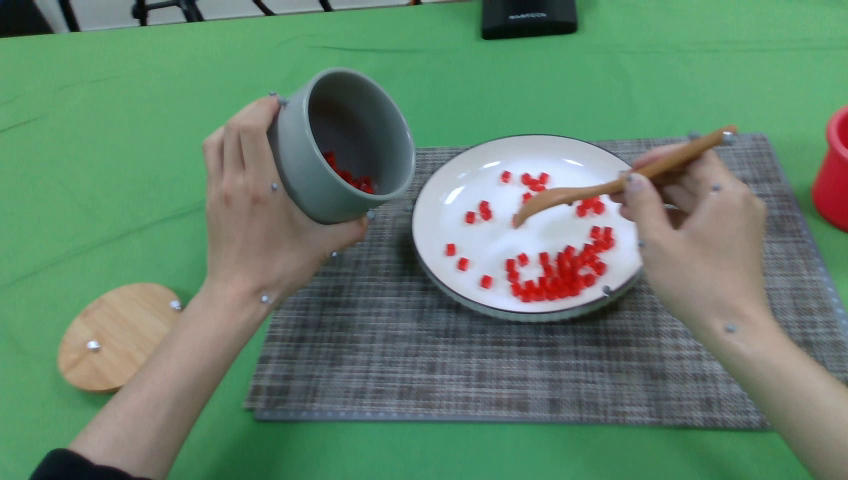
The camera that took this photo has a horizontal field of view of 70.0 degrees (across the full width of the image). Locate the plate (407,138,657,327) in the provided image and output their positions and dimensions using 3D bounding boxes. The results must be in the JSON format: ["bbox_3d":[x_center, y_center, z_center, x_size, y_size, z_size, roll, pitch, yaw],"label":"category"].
[{"bbox_3d":[0.090,-0.008,0.526,0.207,0.039,0.205,-5,48,5],"label":"plate"}]

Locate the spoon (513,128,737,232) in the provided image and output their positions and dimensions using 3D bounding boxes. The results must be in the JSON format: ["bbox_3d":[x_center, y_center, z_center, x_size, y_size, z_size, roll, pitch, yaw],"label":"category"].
[{"bbox_3d":[0.132,-0.038,0.433,0.041,0.022,0.193,-37,11,-37],"label":"spoon"}]

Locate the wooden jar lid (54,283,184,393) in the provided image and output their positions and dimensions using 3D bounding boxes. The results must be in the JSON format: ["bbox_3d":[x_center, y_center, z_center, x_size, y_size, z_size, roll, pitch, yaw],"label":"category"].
[{"bbox_3d":[-0.258,0.084,0.521,0.108,0.021,0.107,-4,49,5],"label":"wooden jar lid"}]

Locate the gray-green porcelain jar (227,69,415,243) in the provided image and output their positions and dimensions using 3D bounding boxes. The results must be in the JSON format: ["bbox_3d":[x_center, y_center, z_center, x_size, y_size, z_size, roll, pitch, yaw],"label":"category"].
[{"bbox_3d":[-0.088,-0.060,0.486,0.126,0.107,0.105,-22,36,41],"label":"gray-green porcelain jar"}]
